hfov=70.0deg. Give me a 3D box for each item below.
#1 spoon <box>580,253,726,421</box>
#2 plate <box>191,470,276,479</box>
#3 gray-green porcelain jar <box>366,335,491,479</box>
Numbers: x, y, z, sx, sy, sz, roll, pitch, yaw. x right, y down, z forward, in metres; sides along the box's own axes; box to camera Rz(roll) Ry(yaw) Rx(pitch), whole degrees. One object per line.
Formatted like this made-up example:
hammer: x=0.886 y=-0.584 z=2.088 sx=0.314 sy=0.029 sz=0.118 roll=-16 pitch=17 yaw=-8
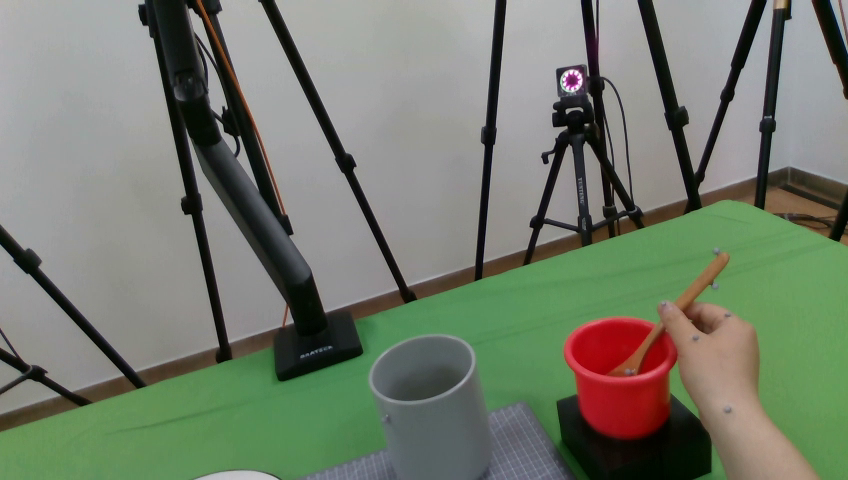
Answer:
spoon: x=0.210 y=0.089 z=0.553 sx=0.194 sy=0.022 sz=0.041 roll=-56 pitch=30 yaw=11
plate: x=-0.206 y=0.299 z=0.541 sx=0.207 sy=0.039 sz=0.206 roll=-10 pitch=25 yaw=5
gray-green porcelain jar: x=0.008 y=0.175 z=0.597 sx=0.106 sy=0.127 sz=0.105 roll=-10 pitch=25 yaw=5
